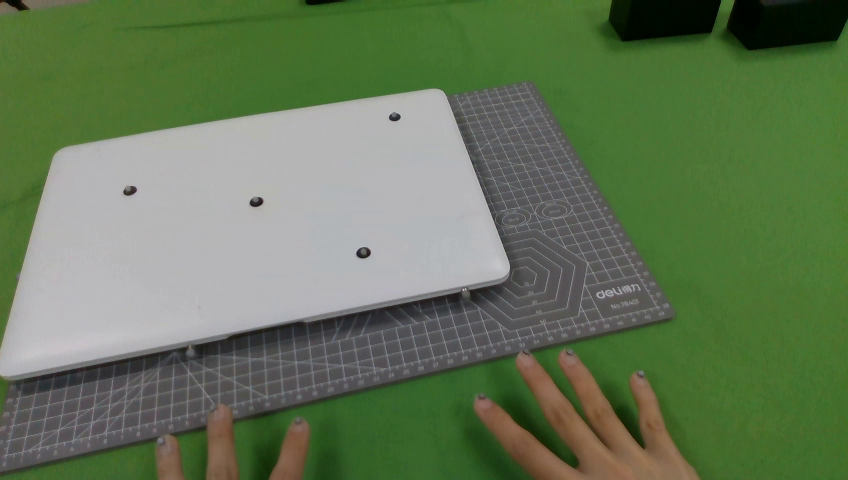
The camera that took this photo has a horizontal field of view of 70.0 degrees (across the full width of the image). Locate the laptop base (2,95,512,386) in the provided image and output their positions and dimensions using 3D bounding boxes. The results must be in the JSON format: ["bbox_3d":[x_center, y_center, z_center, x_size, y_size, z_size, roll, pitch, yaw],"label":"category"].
[{"bbox_3d":[-0.130,-0.017,0.492,0.355,0.023,0.233,-11,52,-6],"label":"laptop base"}]

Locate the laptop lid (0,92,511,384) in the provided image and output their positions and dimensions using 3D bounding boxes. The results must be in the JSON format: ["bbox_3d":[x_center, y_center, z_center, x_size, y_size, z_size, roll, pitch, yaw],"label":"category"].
[{"bbox_3d":[-0.130,-0.023,0.482,0.357,0.013,0.239,-9,50,-5],"label":"laptop lid"}]
